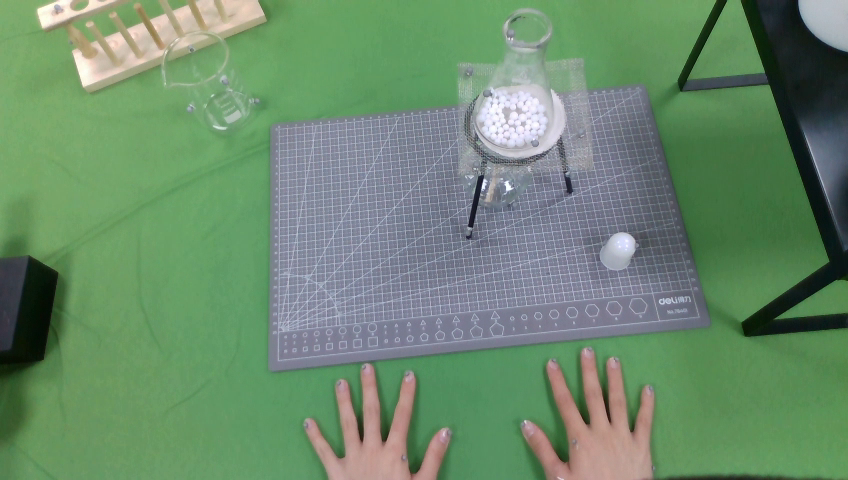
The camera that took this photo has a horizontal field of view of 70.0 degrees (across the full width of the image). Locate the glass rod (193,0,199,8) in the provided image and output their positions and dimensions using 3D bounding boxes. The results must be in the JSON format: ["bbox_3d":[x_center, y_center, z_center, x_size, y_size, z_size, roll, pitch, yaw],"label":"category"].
[{"bbox_3d":[-0.293,-0.346,0.701,0.008,0.201,0.008,1,66,-1],"label":"glass rod"}]

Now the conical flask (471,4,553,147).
[{"bbox_3d":[0.077,-0.138,0.505,0.075,0.123,0.075,-1,68,2],"label":"conical flask"}]

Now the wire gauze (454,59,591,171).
[{"bbox_3d":[0.089,-0.120,0.561,0.121,0.011,0.124,0,66,0],"label":"wire gauze"}]

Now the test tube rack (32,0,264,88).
[{"bbox_3d":[-0.334,-0.283,0.750,0.242,0.086,0.066,-25,69,-7],"label":"test tube rack"}]

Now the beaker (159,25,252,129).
[{"bbox_3d":[-0.248,-0.180,0.697,0.073,0.101,0.084,39,75,17],"label":"beaker"}]

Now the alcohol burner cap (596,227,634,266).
[{"bbox_3d":[0.199,0.004,0.626,0.034,0.048,0.033,-1,68,3],"label":"alcohol burner cap"}]

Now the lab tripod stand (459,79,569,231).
[{"bbox_3d":[0.086,-0.090,0.621,0.148,0.132,0.147,-1,66,2],"label":"lab tripod stand"}]

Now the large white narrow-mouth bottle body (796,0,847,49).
[{"bbox_3d":[0.369,-0.239,0.443,0.102,0.196,0.101,-1,66,2],"label":"large white narrow-mouth bottle body"}]

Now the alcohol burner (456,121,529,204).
[{"bbox_3d":[0.073,-0.087,0.631,0.078,0.120,0.077,0,67,1],"label":"alcohol burner"}]
